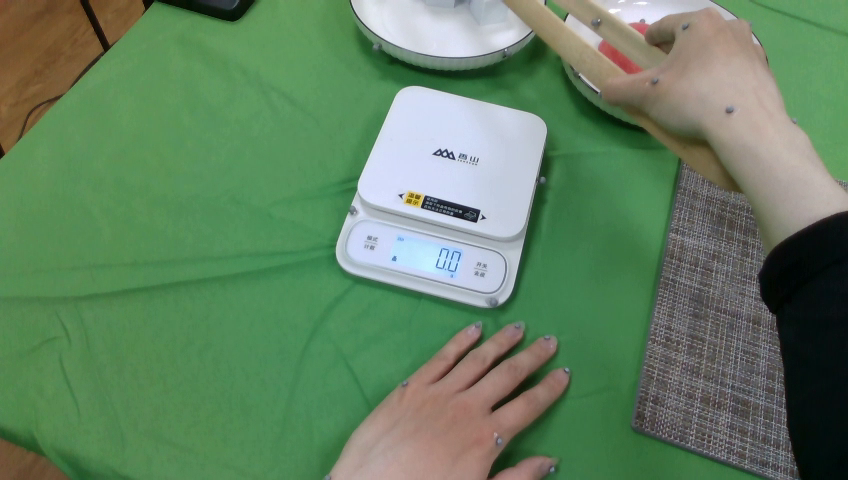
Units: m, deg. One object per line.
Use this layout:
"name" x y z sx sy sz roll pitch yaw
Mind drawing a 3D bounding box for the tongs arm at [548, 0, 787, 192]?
"tongs arm" 0.152 -0.174 0.521 0.051 0.027 0.380 -21 54 -26

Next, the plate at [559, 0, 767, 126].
"plate" 0.237 -0.189 0.619 0.209 0.038 0.207 2 58 -2

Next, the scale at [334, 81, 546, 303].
"scale" 0.019 -0.049 0.525 0.148 0.032 0.199 14 59 6

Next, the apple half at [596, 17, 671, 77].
"apple half" 0.221 -0.205 0.622 0.081 0.033 0.080 0 55 0

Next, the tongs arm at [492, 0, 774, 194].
"tongs arm" 0.125 -0.165 0.509 0.028 0.028 0.383 -17 52 -28

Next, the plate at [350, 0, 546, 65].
"plate" 0.025 -0.257 0.649 0.208 0.039 0.205 1 58 -2
